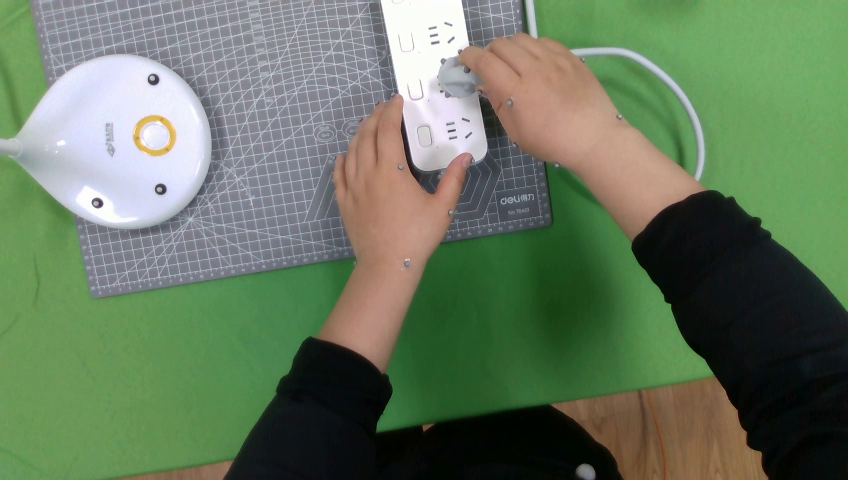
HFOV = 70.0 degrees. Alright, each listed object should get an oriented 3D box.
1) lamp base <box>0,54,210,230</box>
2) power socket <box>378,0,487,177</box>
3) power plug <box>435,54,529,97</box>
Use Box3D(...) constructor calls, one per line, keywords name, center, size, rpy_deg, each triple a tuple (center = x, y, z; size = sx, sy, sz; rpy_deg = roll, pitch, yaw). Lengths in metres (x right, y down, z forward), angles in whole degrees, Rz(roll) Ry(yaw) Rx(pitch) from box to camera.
Box3D(name="lamp base", center=(-0.291, -0.080, 0.484), size=(0.179, 0.180, 0.161), rpy_deg=(-15, 94, 4))
Box3D(name="power socket", center=(0.004, -0.170, 0.548), size=(0.072, 0.032, 0.227), rpy_deg=(-11, 95, 1))
Box3D(name="power plug", center=(0.045, -0.137, 0.519), size=(0.073, 0.052, 0.035), rpy_deg=(8, 95, -16))
